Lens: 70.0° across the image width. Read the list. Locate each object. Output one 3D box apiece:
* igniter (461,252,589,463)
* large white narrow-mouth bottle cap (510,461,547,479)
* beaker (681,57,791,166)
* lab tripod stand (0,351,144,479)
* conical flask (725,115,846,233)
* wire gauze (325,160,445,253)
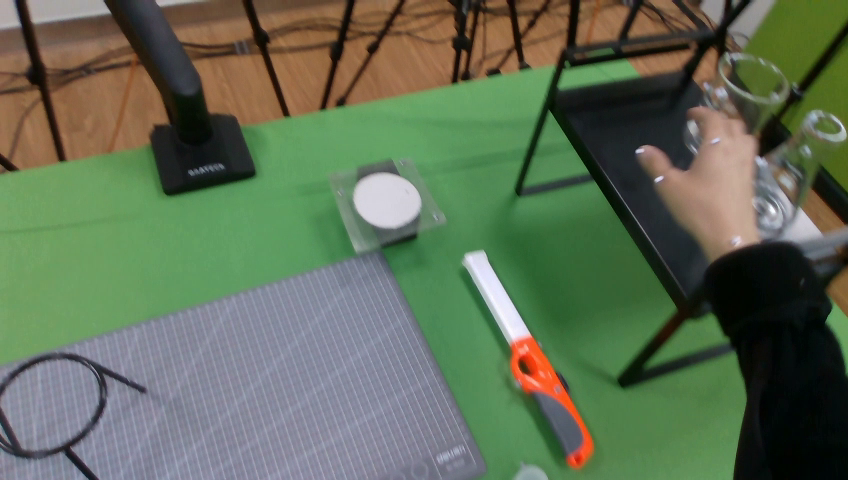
[{"bbox_3d":[0.116,0.128,0.716,0.057,0.025,0.273,-10,56,-28],"label":"igniter"},{"bbox_3d":[0.109,0.252,0.634,0.038,0.024,0.037,4,55,-5],"label":"large white narrow-mouth bottle cap"},{"bbox_3d":[0.338,-0.140,0.673,0.074,0.101,0.083,-10,56,-15],"label":"beaker"},{"bbox_3d":[-0.317,0.171,0.551,0.149,0.132,0.147,5,54,-7],"label":"lab tripod stand"},{"bbox_3d":[0.369,-0.070,0.613,0.075,0.123,0.074,4,54,-5],"label":"conical flask"},{"bbox_3d":[-0.050,-0.049,0.768,0.122,0.011,0.124,-15,59,-18],"label":"wire gauze"}]
